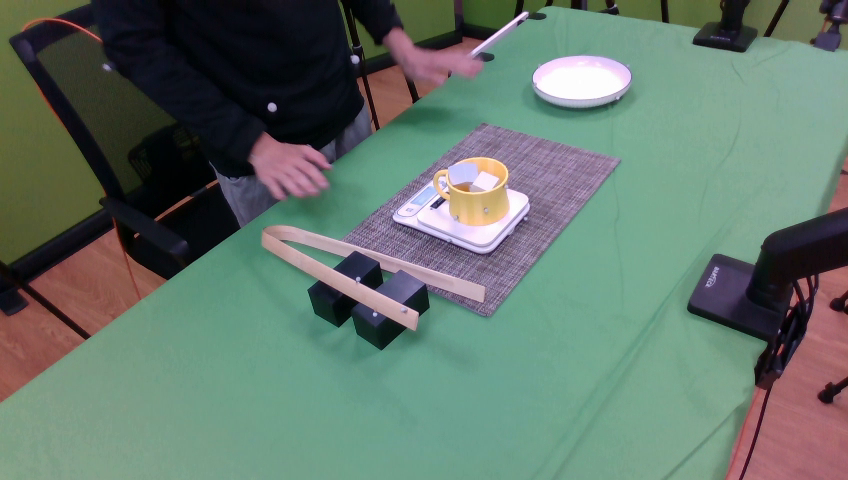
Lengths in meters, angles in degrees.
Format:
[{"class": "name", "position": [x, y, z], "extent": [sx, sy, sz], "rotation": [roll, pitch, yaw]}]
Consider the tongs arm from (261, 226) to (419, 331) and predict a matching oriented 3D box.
[{"class": "tongs arm", "position": [-0.131, 0.044, 0.867], "extent": [0.381, 0.026, 0.051], "rotation": [21, 23, 39]}]

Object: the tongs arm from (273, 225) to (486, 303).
[{"class": "tongs arm", "position": [-0.080, 0.032, 0.930], "extent": [0.385, 0.028, 0.028], "rotation": [16, 24, 26]}]

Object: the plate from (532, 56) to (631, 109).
[{"class": "plate", "position": [0.335, -0.336, 1.301], "extent": [0.207, 0.039, 0.206], "rotation": [-4, 41, 4]}]

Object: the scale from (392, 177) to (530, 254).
[{"class": "scale", "position": [0.060, -0.050, 1.006], "extent": [0.199, 0.032, 0.149], "rotation": [22, 48, 30]}]

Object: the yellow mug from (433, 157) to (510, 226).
[{"class": "yellow mug", "position": [0.072, -0.082, 0.968], "extent": [0.130, 0.064, 0.100], "rotation": [13, 45, 24]}]
